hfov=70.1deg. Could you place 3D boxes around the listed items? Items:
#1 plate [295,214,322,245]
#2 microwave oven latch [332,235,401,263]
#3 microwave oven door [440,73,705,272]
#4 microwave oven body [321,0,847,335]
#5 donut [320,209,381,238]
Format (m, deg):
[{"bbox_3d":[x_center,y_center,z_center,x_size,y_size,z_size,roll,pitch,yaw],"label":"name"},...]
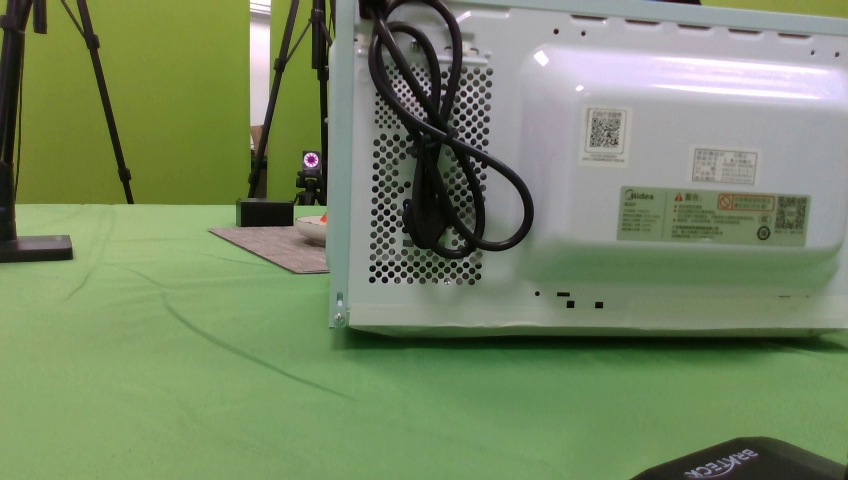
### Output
[{"bbox_3d":[-0.107,-0.016,0.996,0.209,0.038,0.209,2,7,0],"label":"plate"},{"bbox_3d":[-0.066,0.010,0.701,0.079,0.029,0.030,2,7,-8],"label":"microwave oven latch"},{"bbox_3d":[0.184,-0.098,0.832,0.354,0.243,0.039,7,9,32],"label":"microwave oven door"},{"bbox_3d":[0.133,-0.062,0.568,0.443,0.260,0.325,2,6,-8],"label":"microwave oven body"},{"bbox_3d":[-0.121,-0.027,0.995,0.099,0.048,0.099,2,4,0],"label":"donut"}]
